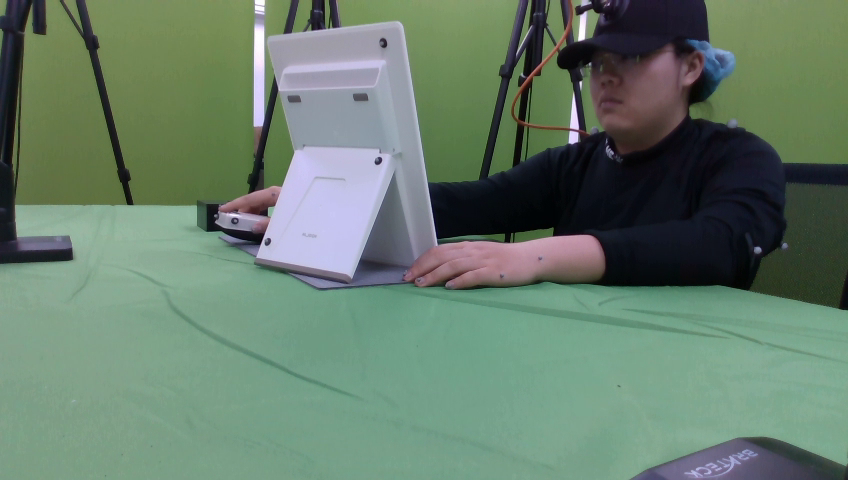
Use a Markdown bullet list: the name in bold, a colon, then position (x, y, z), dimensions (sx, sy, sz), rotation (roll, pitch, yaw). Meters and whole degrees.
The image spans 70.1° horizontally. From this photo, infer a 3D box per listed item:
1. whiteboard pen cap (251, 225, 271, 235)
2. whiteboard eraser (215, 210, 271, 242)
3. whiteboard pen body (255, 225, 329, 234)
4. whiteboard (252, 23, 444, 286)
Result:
- **whiteboard pen cap**: position (-0.288, -0.019, 1.071), dimensions (0.033, 0.018, 0.018), rotation (-4, 10, -34)
- **whiteboard eraser**: position (-0.261, -0.019, 0.941), dimensions (0.113, 0.042, 0.055), rotation (10, 7, -34)
- **whiteboard pen body**: position (-0.239, -0.019, 1.105), dimensions (0.141, 0.017, 0.017), rotation (-2, 9, -34)
- **whiteboard**: position (-0.125, -0.080, 0.715), dimensions (0.216, 0.305, 0.144), rotation (9, 29, 36)
